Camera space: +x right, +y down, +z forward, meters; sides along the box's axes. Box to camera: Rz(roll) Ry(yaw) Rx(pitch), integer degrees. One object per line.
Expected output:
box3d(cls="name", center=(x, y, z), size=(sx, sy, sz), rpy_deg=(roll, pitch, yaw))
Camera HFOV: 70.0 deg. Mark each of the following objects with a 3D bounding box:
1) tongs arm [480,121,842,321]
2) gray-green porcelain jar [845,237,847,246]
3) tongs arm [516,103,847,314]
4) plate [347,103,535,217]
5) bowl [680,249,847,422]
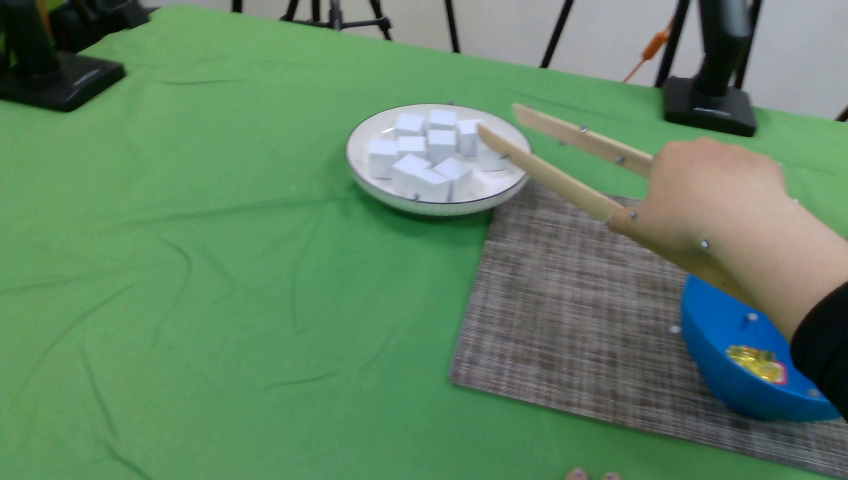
box3d(cls="tongs arm", center=(0.145, -0.039, 0.495), size=(0.028, 0.028, 0.383), rpy_deg=(-25, 34, -14))
box3d(cls="gray-green porcelain jar", center=(0.464, -0.007, 0.557), size=(0.106, 0.127, 0.105), rpy_deg=(2, 41, -2))
box3d(cls="tongs arm", center=(0.171, -0.053, 0.501), size=(0.051, 0.027, 0.380), rpy_deg=(-29, 35, -14))
box3d(cls="plate", center=(0.019, -0.089, 0.678), size=(0.209, 0.038, 0.207), rpy_deg=(2, 41, -1))
box3d(cls="bowl", center=(0.267, 0.085, 0.470), size=(0.151, 0.077, 0.150), rpy_deg=(3, 41, -2))
